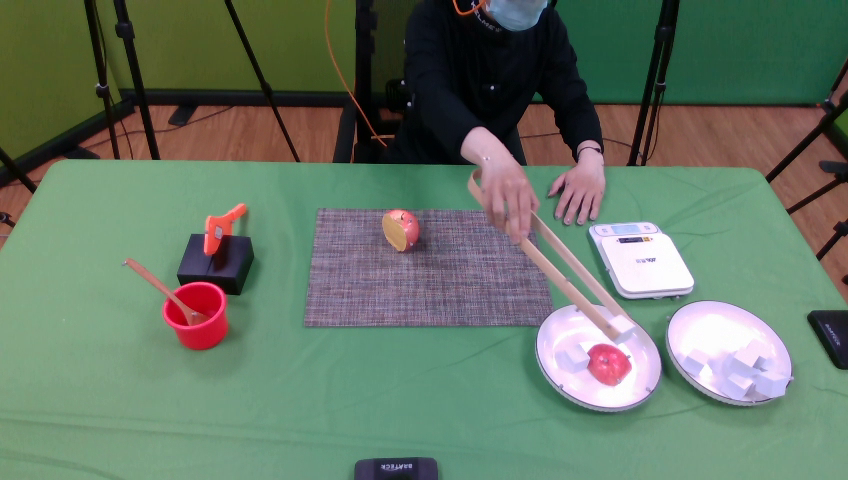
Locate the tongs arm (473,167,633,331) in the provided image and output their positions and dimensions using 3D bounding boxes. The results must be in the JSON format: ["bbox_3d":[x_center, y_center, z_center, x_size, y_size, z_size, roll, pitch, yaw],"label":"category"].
[{"bbox_3d":[0.215,0.005,1.044,0.028,0.028,0.385,-26,63,-27],"label":"tongs arm"}]

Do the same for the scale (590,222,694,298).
[{"bbox_3d":[0.424,0.031,1.189,0.149,0.032,0.199,-3,46,-7],"label":"scale"}]

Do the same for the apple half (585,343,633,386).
[{"bbox_3d":[0.309,0.198,1.008,0.081,0.033,0.081,4,48,-4],"label":"apple half"}]

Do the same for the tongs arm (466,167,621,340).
[{"bbox_3d":[0.197,0.013,1.032,0.051,0.026,0.383,-29,64,-32],"label":"tongs arm"}]

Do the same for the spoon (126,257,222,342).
[{"bbox_3d":[-0.408,0.096,0.990,0.194,0.021,0.041,50,53,-18],"label":"spoon"}]

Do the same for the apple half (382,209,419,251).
[{"bbox_3d":[-0.039,-0.022,1.175,0.053,0.075,0.080,-27,50,-31],"label":"apple half"}]

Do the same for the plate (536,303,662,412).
[{"bbox_3d":[0.288,0.197,1.016,0.209,0.038,0.208,2,46,-2],"label":"plate"}]

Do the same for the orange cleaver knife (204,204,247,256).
[{"bbox_3d":[-0.374,-0.024,1.146,0.012,0.077,0.211,4,14,1],"label":"orange cleaver knife"}]

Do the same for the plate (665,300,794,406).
[{"bbox_3d":[0.513,0.194,1.034,0.208,0.039,0.206,2,46,-2],"label":"plate"}]
